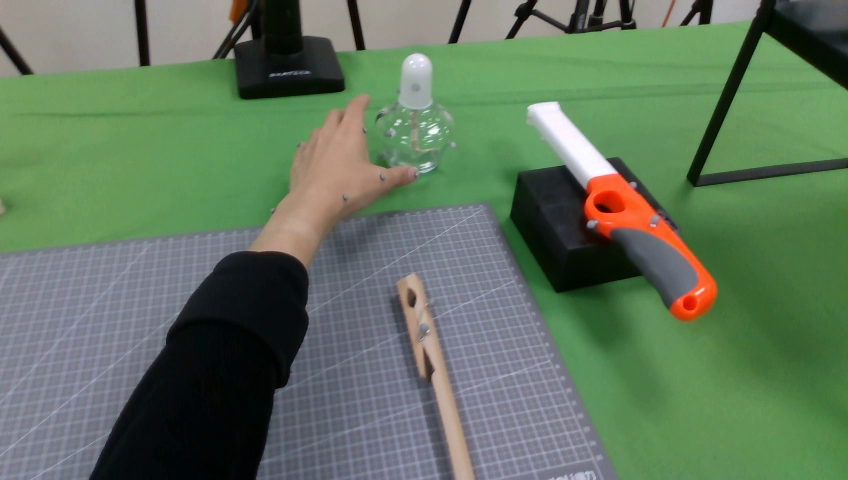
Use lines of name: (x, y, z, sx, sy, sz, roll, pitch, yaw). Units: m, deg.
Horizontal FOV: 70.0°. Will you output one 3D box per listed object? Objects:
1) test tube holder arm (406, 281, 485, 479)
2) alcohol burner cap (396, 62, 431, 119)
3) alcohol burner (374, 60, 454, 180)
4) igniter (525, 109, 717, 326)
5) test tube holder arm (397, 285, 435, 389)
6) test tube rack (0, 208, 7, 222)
test tube holder arm: (0.013, 0.096, 0.412, 0.013, 0.015, 0.176, -34, 45, 12)
alcohol burner cap: (-0.009, -0.140, 0.556, 0.034, 0.048, 0.033, 2, 43, -2)
alcohol burner: (-0.010, -0.117, 0.578, 0.078, 0.120, 0.077, 2, 45, -1)
igniter: (0.149, -0.035, 0.496, 0.057, 0.025, 0.273, -10, 42, -12)
test tube holder arm: (-0.004, 0.069, 0.444, 0.010, 0.015, 0.087, -33, 45, 12)
test tube rack: (-0.456, -0.001, 0.434, 0.066, 0.086, 0.242, 28, 48, 24)
